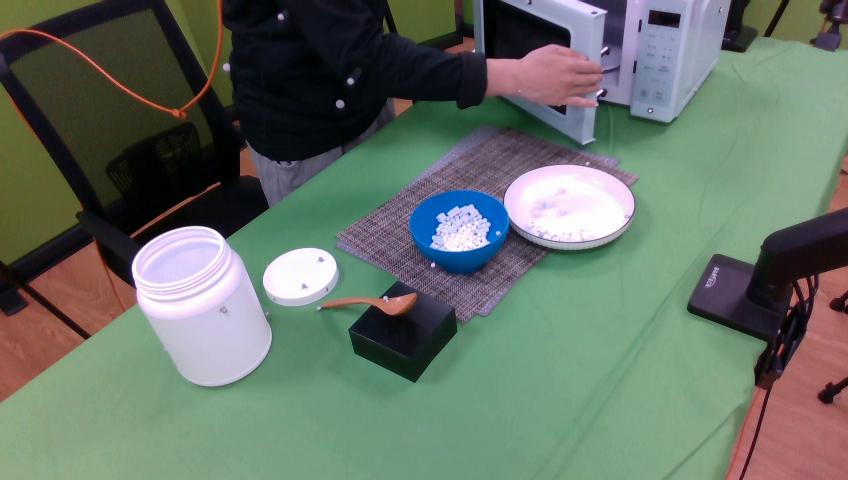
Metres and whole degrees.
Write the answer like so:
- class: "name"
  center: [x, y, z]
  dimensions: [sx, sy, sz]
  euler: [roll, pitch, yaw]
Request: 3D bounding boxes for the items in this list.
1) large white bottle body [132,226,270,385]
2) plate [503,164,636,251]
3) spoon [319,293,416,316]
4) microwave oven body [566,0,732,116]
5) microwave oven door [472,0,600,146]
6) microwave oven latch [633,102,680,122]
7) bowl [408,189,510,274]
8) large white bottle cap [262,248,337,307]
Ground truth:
- class: "large white bottle body"
  center: [-0.286, 0.085, 0.784]
  dimensions: [0.130, 0.185, 0.130]
  euler: [-4, 41, 4]
- class: "plate"
  center: [0.232, -0.050, 0.976]
  dimensions: [0.209, 0.038, 0.208]
  euler: [-3, 41, 3]
- class: "spoon"
  center: [-0.082, 0.086, 0.826]
  dimensions: [0.192, 0.022, 0.041]
  euler: [-3, 37, 41]
- class: "microwave oven body"
  center: [0.377, -0.462, 1.267]
  dimensions: [0.438, 0.261, 0.327]
  euler: [21, 48, 30]
- class: "microwave oven door"
  center: [0.204, -0.361, 1.166]
  dimensions: [0.039, 0.245, 0.352]
  euler: [-25, 43, -19]
- class: "microwave oven latch"
  center: [0.444, -0.250, 1.157]
  dimensions: [0.078, 0.029, 0.030]
  euler: [22, 49, 31]
- class: "bowl"
  center: [0.055, -0.002, 0.914]
  dimensions: [0.151, 0.077, 0.150]
  euler: [-4, 40, 4]
- class: "large white bottle cap"
  center: [-0.193, 0.056, 0.934]
  dimensions: [0.115, 0.018, 0.114]
  euler: [-4, 41, 4]
